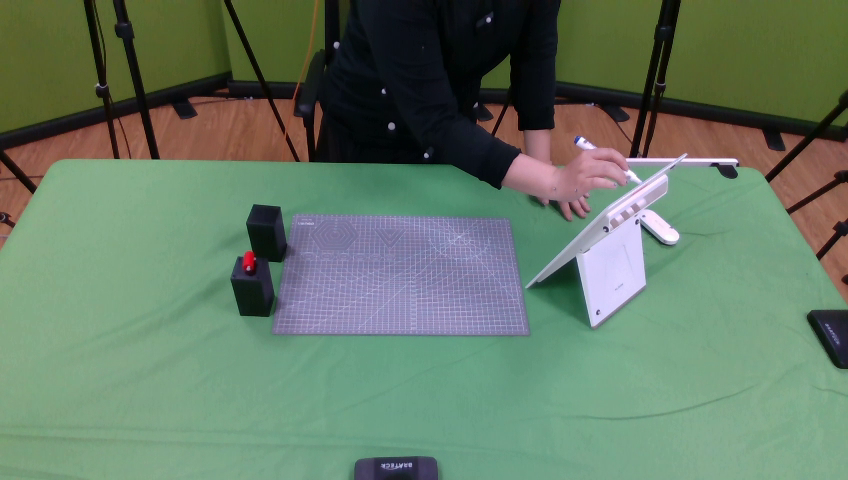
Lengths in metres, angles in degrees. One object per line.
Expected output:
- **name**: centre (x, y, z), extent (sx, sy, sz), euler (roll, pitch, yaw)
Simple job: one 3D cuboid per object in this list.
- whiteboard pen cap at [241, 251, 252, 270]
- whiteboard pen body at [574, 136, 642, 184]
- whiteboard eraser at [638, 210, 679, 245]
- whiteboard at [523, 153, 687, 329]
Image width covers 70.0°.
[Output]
- **whiteboard pen cap**: centre (-0.293, 0.033, 1.006), extent (0.017, 0.017, 0.032), euler (-3, 44, -7)
- **whiteboard pen body**: centre (0.313, -0.132, 1.020), extent (0.140, 0.017, 0.017), euler (36, 52, 8)
- **whiteboard eraser**: centre (0.486, -0.026, 1.260), extent (0.041, 0.019, 0.100), euler (-20, 50, -20)
- **whiteboard**: centre (0.347, 0.025, 1.046), extent (0.217, 0.306, 0.143), euler (-30, 74, -29)
